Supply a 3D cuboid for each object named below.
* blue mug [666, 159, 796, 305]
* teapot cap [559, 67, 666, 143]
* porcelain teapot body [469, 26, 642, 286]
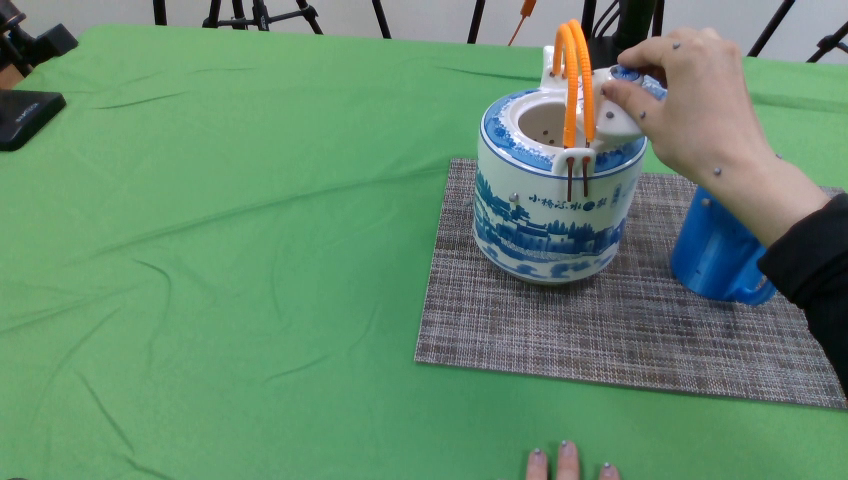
[{"bbox_3d":[0.282,0.002,0.548,0.082,0.107,0.115,-7,44,-6],"label":"blue mug"},{"bbox_3d":[0.151,-0.114,0.482,0.085,0.044,0.084,1,46,-1],"label":"teapot cap"},{"bbox_3d":[0.117,-0.095,0.565,0.145,0.227,0.203,0,43,0],"label":"porcelain teapot body"}]
